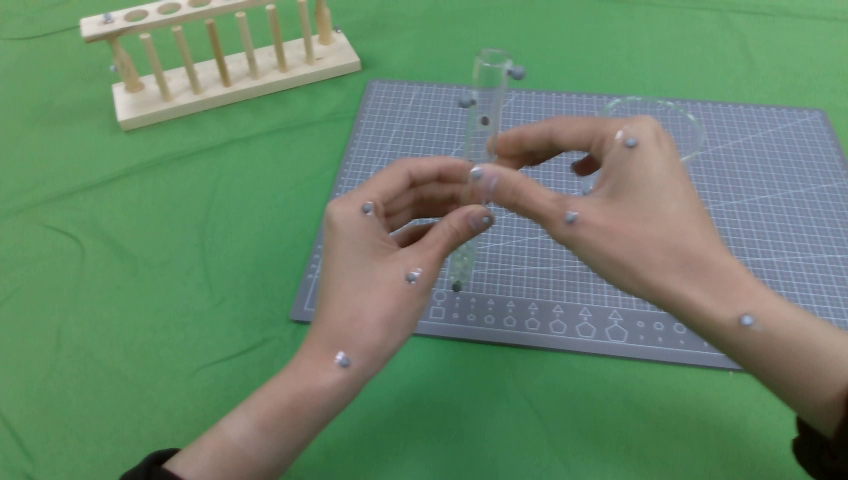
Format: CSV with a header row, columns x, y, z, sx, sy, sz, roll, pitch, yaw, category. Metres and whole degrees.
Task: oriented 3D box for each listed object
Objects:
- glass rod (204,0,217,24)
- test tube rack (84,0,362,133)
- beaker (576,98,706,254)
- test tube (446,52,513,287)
x,y,z,sx,sy,sz,roll,pitch,yaw,category
-0.202,-0.234,0.552,0.008,0.201,0.008,2,52,-2,glass rod
-0.190,-0.190,0.602,0.243,0.086,0.066,-19,52,-14,test tube rack
0.155,-0.044,0.459,0.084,0.101,0.073,-9,50,-5,beaker
0.026,-0.027,0.318,0.017,0.151,0.017,3,45,-3,test tube
